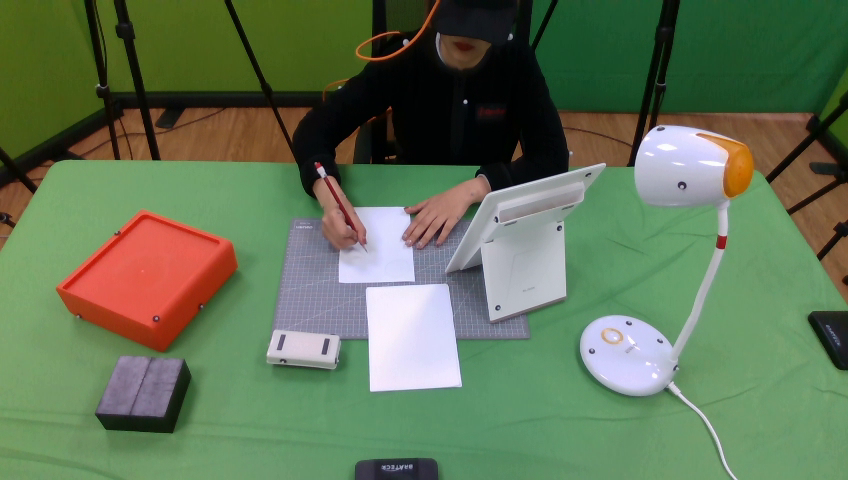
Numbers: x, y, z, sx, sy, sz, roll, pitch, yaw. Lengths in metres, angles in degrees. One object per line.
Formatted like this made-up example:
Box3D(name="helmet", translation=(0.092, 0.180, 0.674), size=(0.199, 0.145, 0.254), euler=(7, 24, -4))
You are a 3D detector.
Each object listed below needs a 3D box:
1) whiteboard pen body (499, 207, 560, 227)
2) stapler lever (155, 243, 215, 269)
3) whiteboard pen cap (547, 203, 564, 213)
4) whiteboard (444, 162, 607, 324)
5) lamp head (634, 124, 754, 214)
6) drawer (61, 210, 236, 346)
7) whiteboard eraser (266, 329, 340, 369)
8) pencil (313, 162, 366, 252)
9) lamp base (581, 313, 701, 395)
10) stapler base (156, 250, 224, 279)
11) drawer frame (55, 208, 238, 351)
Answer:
Box3D(name="whiteboard pen body", translation=(0.222, -0.051, 1.259), size=(0.141, 0.017, 0.017), euler=(-15, 49, -16))
Box3D(name="stapler lever", translation=(-0.433, 0.023, 1.097), size=(0.118, 0.040, 0.026), euler=(14, 39, 14))
Box3D(name="whiteboard pen cap", translation=(0.277, -0.066, 1.275), size=(0.033, 0.018, 0.018), euler=(-18, 50, -15))
Box3D(name="whiteboard", translation=(0.186, 0.025, 1.029), size=(0.217, 0.306, 0.143), euler=(-15, 68, -18))
Box3D(name="lamp head", translation=(0.351, -0.089, 0.776), size=(0.112, 0.113, 0.122), euler=(-30, 30, -28))
Box3D(name="drawer", translation=(-0.474, 0.061, 1.062), size=(0.194, 0.073, 0.211), euler=(19, 48, 13))
Box3D(name="whiteboard eraser", translation=(-0.198, 0.181, 0.994), size=(0.113, 0.042, 0.055), euler=(5, 45, 1))
Box3D(name="pencil", translation=(-0.156, -0.059, 1.142), size=(0.012, 0.194, 0.012), euler=(-26, 14, 7))
Box3D(name="lamp base", translation=(0.361, 0.144, 0.973), size=(0.178, 0.181, 0.160), euler=(34, 53, 23))
Box3D(name="stapler base", translation=(-0.431, 0.040, 1.110), size=(0.130, 0.024, 0.041), euler=(11, 38, 17))
Box3D(name="drawer frame", translation=(-0.474, 0.062, 1.059), size=(0.201, 0.083, 0.213), euler=(18, 48, 12))
